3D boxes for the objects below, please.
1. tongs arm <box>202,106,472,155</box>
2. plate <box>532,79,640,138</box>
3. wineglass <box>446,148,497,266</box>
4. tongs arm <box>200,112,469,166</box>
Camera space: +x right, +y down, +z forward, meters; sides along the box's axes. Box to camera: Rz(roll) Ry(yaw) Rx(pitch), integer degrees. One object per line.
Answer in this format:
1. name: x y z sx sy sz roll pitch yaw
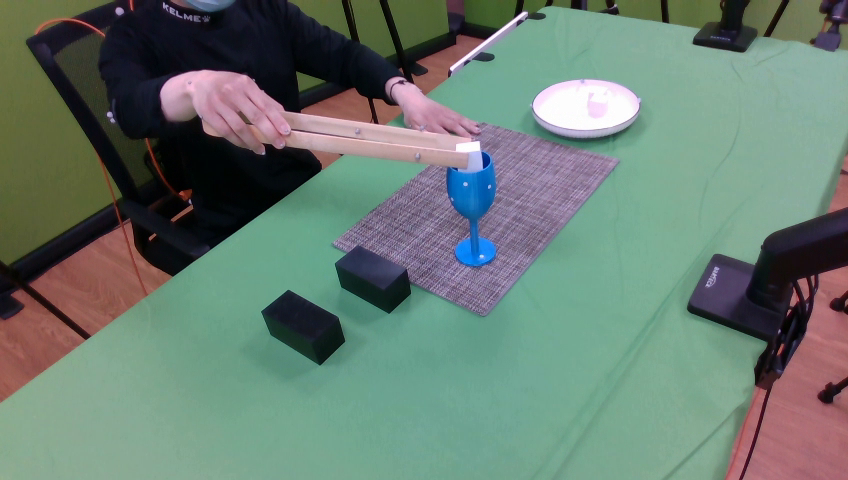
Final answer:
1. tongs arm: -0.126 -0.151 0.851 0.384 0.026 0.050 10 36 10
2. plate: 0.322 -0.259 1.212 0.209 0.038 0.208 -4 40 4
3. wineglass: 0.073 -0.045 0.889 0.074 0.173 0.073 -4 41 4
4. tongs arm: -0.130 -0.138 0.831 0.387 0.028 0.028 8 40 7
